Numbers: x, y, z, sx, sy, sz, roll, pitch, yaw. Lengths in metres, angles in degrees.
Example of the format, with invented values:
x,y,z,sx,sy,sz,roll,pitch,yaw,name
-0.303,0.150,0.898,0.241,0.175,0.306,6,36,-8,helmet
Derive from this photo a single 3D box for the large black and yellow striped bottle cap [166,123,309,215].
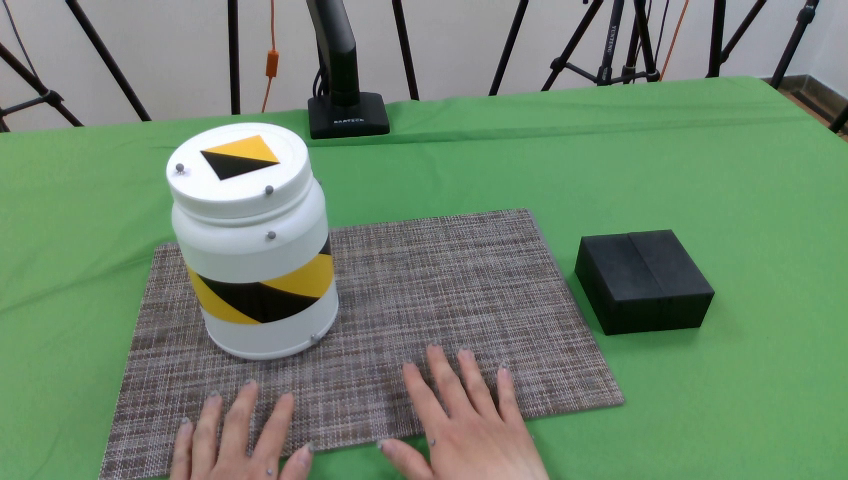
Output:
x,y,z,sx,sy,sz,roll,pitch,yaw,name
-0.156,-0.063,0.510,0.115,0.019,0.114,1,42,-1,large black and yellow striped bottle cap

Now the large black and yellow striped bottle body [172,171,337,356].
x,y,z,sx,sy,sz,roll,pitch,yaw,name
-0.154,0.004,0.566,0.131,0.185,0.129,0,40,0,large black and yellow striped bottle body
